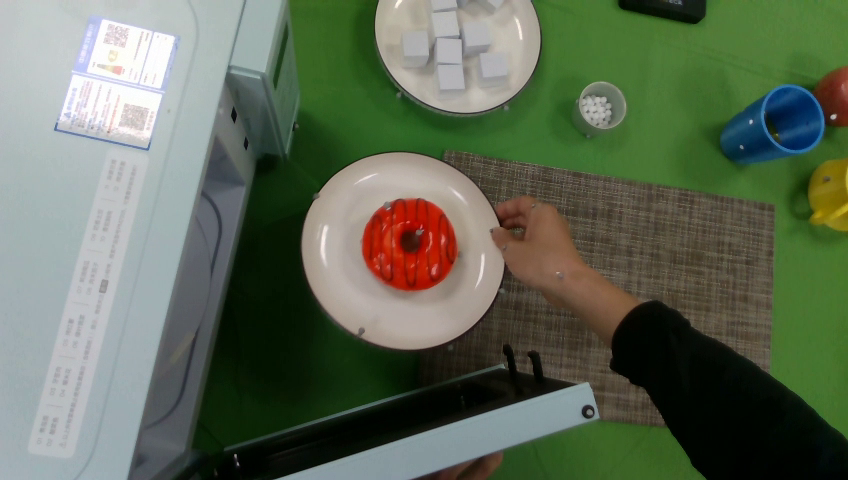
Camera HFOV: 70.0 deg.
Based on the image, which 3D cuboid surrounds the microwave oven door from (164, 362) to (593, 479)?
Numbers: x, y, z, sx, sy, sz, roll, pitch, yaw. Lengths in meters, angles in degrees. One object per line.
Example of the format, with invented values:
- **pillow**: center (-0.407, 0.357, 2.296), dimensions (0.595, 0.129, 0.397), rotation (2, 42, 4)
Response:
- **microwave oven door**: center (-0.056, 0.182, 0.553), dimensions (0.356, 0.244, 0.039), rotation (-14, 83, -11)

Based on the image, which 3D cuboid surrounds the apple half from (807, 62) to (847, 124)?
- **apple half**: center (0.544, -0.198, 0.808), dimensions (0.053, 0.074, 0.080), rotation (13, 83, -4)

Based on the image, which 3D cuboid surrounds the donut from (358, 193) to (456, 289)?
- **donut**: center (-0.017, 0.001, 0.608), dimensions (0.099, 0.048, 0.098), rotation (2, 80, -8)

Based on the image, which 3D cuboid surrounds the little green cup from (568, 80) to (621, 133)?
- **little green cup**: center (0.213, -0.166, 0.766), dimensions (0.062, 0.038, 0.061), rotation (1, 81, -9)

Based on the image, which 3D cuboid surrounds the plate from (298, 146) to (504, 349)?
- **plate**: center (-0.023, 0.007, 0.617), dimensions (0.210, 0.038, 0.208), rotation (3, 76, -11)

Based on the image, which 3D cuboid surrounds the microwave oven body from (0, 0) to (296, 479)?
- **microwave oven body**: center (-0.322, -0.012, 0.539), dimensions (0.327, 0.260, 0.440), rotation (11, 81, -8)

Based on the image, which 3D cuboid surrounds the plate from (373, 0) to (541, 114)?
- **plate**: center (0.039, -0.252, 0.749), dimensions (0.208, 0.039, 0.207), rotation (1, 82, -9)

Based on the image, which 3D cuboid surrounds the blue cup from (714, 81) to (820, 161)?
- **blue cup**: center (0.424, -0.141, 0.766), dimensions (0.093, 0.100, 0.092), rotation (1, 83, -10)

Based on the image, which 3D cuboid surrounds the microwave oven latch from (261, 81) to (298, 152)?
- **microwave oven latch**: center (-0.163, -0.142, 0.681), dimensions (0.030, 0.029, 0.079), rotation (15, 81, -7)

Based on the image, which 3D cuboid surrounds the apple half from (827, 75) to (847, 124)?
- **apple half**: center (0.582, -0.189, 0.811), dimensions (0.033, 0.081, 0.081), rotation (14, 80, -4)

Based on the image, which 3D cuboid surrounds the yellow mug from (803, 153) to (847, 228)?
- **yellow mug**: center (0.555, -0.061, 0.794), dimensions (0.131, 0.064, 0.100), rotation (-34, 89, -11)
